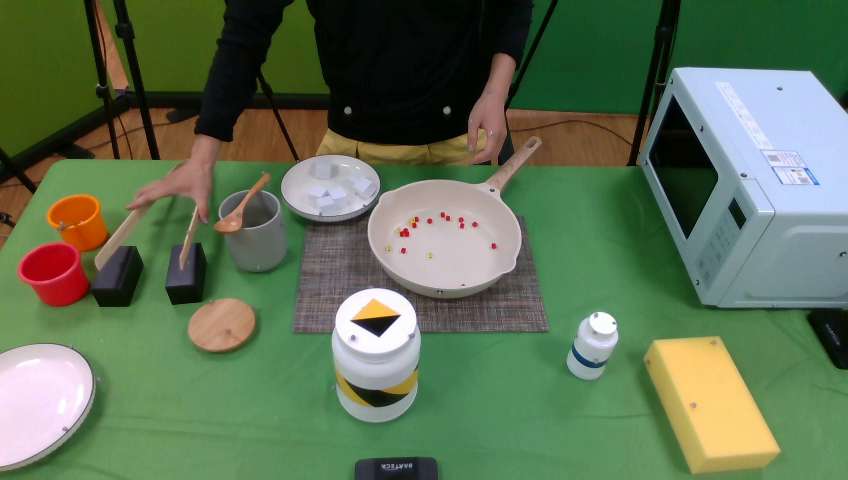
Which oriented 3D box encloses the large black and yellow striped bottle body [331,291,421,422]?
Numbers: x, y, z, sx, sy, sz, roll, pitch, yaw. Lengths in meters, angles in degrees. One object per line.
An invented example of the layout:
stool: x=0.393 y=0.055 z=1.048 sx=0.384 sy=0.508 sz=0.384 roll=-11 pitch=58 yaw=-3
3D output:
large black and yellow striped bottle body: x=-0.071 y=0.175 z=0.911 sx=0.131 sy=0.185 sz=0.130 roll=2 pitch=47 yaw=-2

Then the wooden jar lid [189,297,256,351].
wooden jar lid: x=-0.342 y=0.145 z=1.033 sx=0.108 sy=0.021 sz=0.107 roll=2 pitch=45 yaw=-2

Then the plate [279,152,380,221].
plate: x=-0.196 y=-0.107 z=1.269 sx=0.208 sy=0.039 sz=0.206 roll=2 pitch=45 yaw=-2

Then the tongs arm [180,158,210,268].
tongs arm: x=-0.449 y=-0.065 z=1.162 sx=0.051 sy=0.026 sz=0.382 roll=-2 pitch=33 yaw=-7

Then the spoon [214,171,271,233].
spoon: x=-0.312 y=-0.070 z=1.070 sx=0.041 sy=0.022 sz=0.193 roll=11 pitch=43 yaw=9

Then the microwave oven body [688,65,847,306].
microwave oven body: x=0.669 y=-0.111 z=1.176 sx=0.326 sy=0.261 sz=0.439 roll=0 pitch=46 yaw=-3

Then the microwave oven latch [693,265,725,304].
microwave oven latch: x=0.523 y=0.081 z=1.116 sx=0.030 sy=0.029 sz=0.078 roll=2 pitch=46 yaw=-1

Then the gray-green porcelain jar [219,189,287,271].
gray-green porcelain jar: x=-0.310 y=-0.014 z=1.113 sx=0.106 sy=0.127 sz=0.105 roll=2 pitch=47 yaw=-2

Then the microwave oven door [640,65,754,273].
microwave oven door: x=0.523 y=-0.147 z=1.193 sx=0.039 sy=0.245 sz=0.353 roll=0 pitch=47 yaw=-3

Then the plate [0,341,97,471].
plate: x=-0.599 y=0.247 z=0.904 sx=0.209 sy=0.038 sz=0.208 roll=2 pitch=47 yaw=-2

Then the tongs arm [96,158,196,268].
tongs arm: x=-0.521 y=-0.066 z=1.155 sx=0.028 sy=0.028 sz=0.385 roll=0 pitch=32 yaw=4

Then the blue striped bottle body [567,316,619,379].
blue striped bottle body: x=0.276 y=0.168 z=0.984 sx=0.063 sy=0.121 sz=0.062 roll=2 pitch=46 yaw=-2

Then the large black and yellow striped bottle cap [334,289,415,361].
large black and yellow striped bottle cap: x=-0.069 y=0.117 z=0.850 sx=0.115 sy=0.019 sz=0.114 roll=2 pitch=45 yaw=-2

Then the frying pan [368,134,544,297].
frying pan: x=0.104 y=-0.069 z=1.205 sx=0.305 sy=0.103 sz=0.487 roll=32 pitch=61 yaw=23

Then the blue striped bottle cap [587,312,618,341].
blue striped bottle cap: x=0.279 y=0.134 z=0.947 sx=0.044 sy=0.021 sz=0.044 roll=2 pitch=45 yaw=-2

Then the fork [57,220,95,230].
fork: x=-0.624 y=-0.027 z=1.086 sx=0.028 sy=0.207 sz=0.018 roll=-2 pitch=91 yaw=-17

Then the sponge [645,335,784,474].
sponge: x=0.449 y=0.253 z=0.956 sx=0.118 sy=0.061 sz=0.205 roll=-4 pitch=46 yaw=-7
